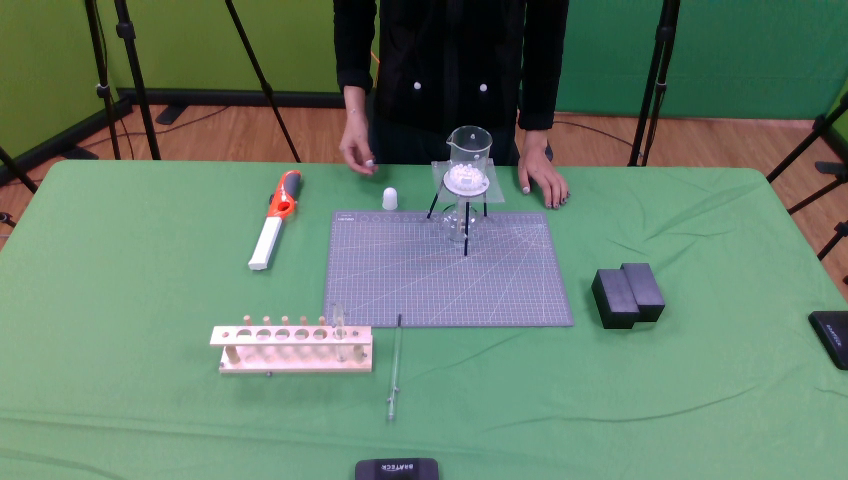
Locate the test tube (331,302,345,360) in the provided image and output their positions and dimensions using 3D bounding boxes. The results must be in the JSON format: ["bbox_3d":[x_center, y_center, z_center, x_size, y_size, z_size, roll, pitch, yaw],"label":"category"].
[{"bbox_3d":[-0.132,0.144,0.938,0.017,0.151,0.017,2,49,-3],"label":"test tube"}]

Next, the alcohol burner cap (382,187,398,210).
[{"bbox_3d":[-0.072,-0.090,1.266,0.034,0.048,0.033,2,47,-2],"label":"alcohol burner cap"}]

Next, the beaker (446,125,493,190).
[{"bbox_3d":[0.079,-0.148,1.106,0.084,0.101,0.073,-3,47,-7],"label":"beaker"}]

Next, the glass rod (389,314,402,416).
[{"bbox_3d":[-0.048,0.203,1.008,0.008,0.008,0.198,4,45,0],"label":"glass rod"}]

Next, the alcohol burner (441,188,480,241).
[{"bbox_3d":[0.073,-0.055,1.189,0.078,0.120,0.077,1,48,-1],"label":"alcohol burner"}]

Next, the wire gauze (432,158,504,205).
[{"bbox_3d":[0.081,-0.111,1.138,0.125,0.011,0.120,0,48,-7],"label":"wire gauze"}]

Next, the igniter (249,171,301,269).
[{"bbox_3d":[-0.297,-0.049,1.220,0.057,0.025,0.275,-1,45,9],"label":"igniter"}]

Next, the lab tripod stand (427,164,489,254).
[{"bbox_3d":[0.078,-0.068,1.188,0.148,0.132,0.147,3,47,-3],"label":"lab tripod stand"}]

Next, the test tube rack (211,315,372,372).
[{"bbox_3d":[-0.208,0.163,0.982,0.242,0.085,0.066,1,46,-4],"label":"test tube rack"}]
